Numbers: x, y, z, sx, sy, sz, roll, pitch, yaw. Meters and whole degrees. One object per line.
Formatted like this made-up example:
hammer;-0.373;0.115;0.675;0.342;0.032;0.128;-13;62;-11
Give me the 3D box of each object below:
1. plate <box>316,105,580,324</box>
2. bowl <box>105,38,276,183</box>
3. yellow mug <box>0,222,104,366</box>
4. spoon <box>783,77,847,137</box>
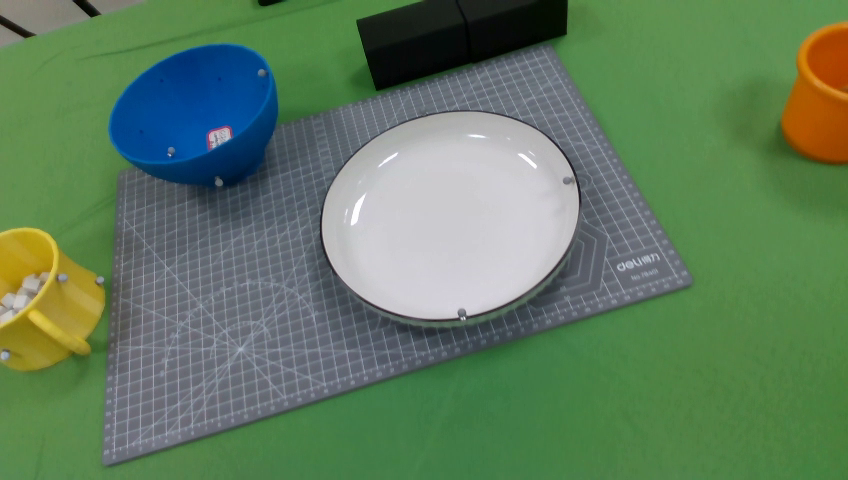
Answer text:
plate;0.018;-0.022;0.487;0.209;0.038;0.207;-5;56;7
bowl;-0.200;-0.106;0.559;0.151;0.077;0.150;-5;56;8
yellow mug;-0.316;0.050;0.488;0.130;0.064;0.099;28;66;25
spoon;0.357;-0.138;0.436;0.022;0.194;0.041;14;52;-34
